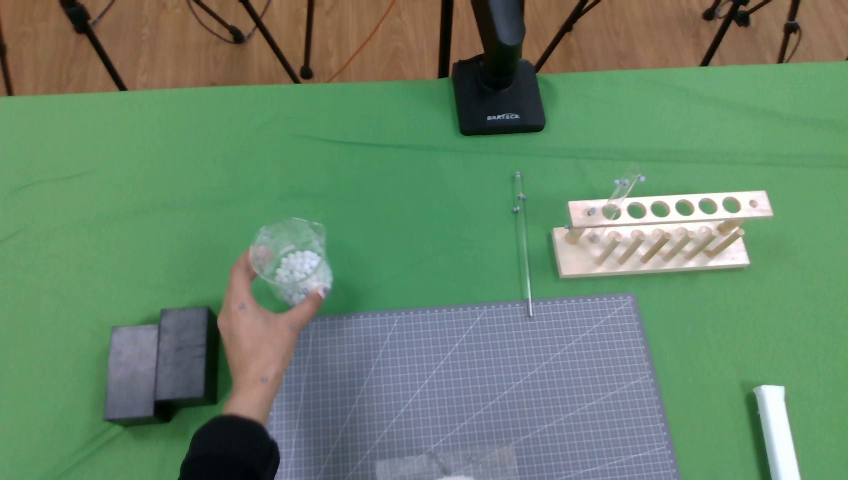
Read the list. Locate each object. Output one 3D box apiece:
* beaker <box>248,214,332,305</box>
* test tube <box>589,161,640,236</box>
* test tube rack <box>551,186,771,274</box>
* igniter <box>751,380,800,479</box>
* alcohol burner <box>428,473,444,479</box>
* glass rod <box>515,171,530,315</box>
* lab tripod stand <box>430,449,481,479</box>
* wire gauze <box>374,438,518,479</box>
[{"bbox_3d":[-0.137,0.024,0.653,0.084,0.101,0.073,-40,75,-16],"label":"beaker"},{"bbox_3d":[0.217,-0.044,0.701,0.017,0.151,0.017,1,63,-1],"label":"test tube"},{"bbox_3d":[0.289,-0.011,0.745,0.243,0.086,0.066,-4,66,-5],"label":"test tube rack"},{"bbox_3d":[0.394,0.291,0.652,0.057,0.025,0.274,7,66,-11],"label":"igniter"},{"bbox_3d":[0.027,0.266,0.590,0.078,0.120,0.077,2,64,-4],"label":"alcohol burner"},{"bbox_3d":[0.125,-0.001,0.771,0.008,0.008,0.198,1,68,-3],"label":"glass rod"},{"bbox_3d":[0.024,0.269,0.578,0.148,0.132,0.147,1,65,-1],"label":"lab tripod stand"},{"bbox_3d":[0.026,0.239,0.517,0.125,0.011,0.120,-6,66,-7],"label":"wire gauze"}]
